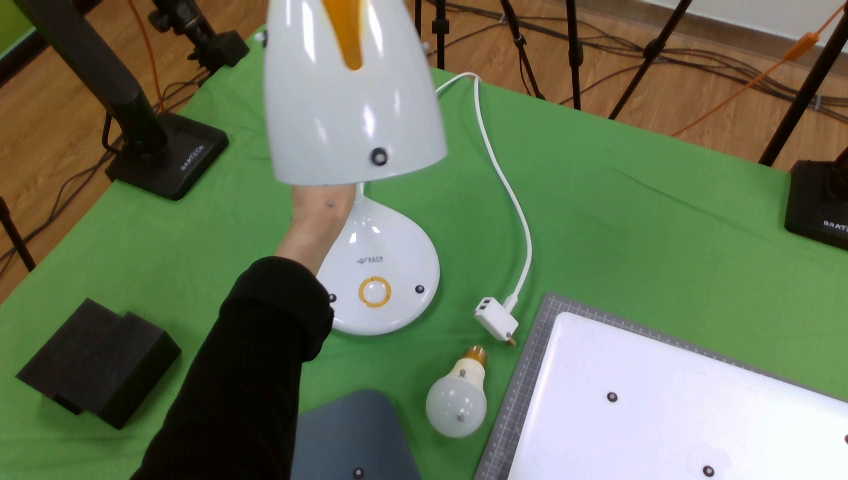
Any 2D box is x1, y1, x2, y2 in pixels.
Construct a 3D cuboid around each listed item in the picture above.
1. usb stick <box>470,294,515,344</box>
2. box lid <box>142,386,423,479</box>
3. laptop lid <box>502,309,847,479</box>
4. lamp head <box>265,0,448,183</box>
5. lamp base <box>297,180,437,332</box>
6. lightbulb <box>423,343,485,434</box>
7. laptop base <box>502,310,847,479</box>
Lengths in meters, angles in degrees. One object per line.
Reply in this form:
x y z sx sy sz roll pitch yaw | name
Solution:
0.078 0.088 0.657 0.059 0.021 0.027 50 62 -18 | usb stick
-0.094 0.327 0.522 0.263 0.015 0.367 -20 60 -12 | box lid
0.265 0.217 0.574 0.355 0.013 0.240 19 61 12 | laptop lid
-0.047 -0.105 0.370 0.112 0.123 0.112 -8 16 3 | lamp head
-0.070 -0.017 0.638 0.161 0.182 0.177 -17 59 -9 | lamp base
0.037 0.146 0.617 0.059 0.060 0.107 18 44 12 | lightbulb
0.266 0.222 0.585 0.353 0.023 0.234 18 62 11 | laptop base
